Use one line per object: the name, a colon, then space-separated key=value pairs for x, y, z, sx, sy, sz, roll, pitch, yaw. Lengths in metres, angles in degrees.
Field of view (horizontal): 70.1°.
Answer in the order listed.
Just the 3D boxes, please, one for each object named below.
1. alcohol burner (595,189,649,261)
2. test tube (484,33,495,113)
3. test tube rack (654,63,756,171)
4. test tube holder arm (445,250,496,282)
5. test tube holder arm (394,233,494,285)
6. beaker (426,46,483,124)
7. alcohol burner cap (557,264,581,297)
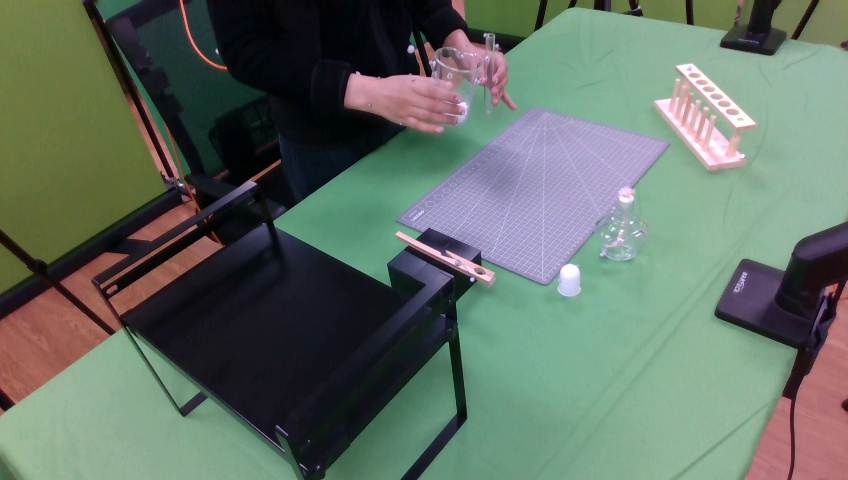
alcohol burner: x=0.294 y=-0.028 z=0.894 sx=0.078 sy=0.119 sz=0.077 roll=-4 pitch=43 yaw=4
test tube: x=0.115 y=-0.289 z=1.060 sx=0.017 sy=0.151 sz=0.017 roll=-2 pitch=44 yaw=2
test tube rack: x=0.510 y=-0.233 z=1.120 sx=0.067 sy=0.085 sz=0.241 roll=-8 pitch=41 yaw=-1
test tube holder arm: x=0.063 y=0.036 z=0.851 sx=0.087 sy=0.015 sz=0.010 roll=24 pitch=58 yaw=32
test tube holder arm: x=0.025 y=0.025 z=0.872 sx=0.177 sy=0.015 sz=0.013 roll=23 pitch=57 yaw=31
beaker: x=0.045 y=-0.240 z=0.945 sx=0.074 sy=0.100 sz=0.083 roll=13 pitch=41 yaw=-2
alcohol burner cap: x=0.208 y=0.055 z=0.866 sx=0.034 sy=0.048 sz=0.033 roll=-4 pitch=41 yaw=4
